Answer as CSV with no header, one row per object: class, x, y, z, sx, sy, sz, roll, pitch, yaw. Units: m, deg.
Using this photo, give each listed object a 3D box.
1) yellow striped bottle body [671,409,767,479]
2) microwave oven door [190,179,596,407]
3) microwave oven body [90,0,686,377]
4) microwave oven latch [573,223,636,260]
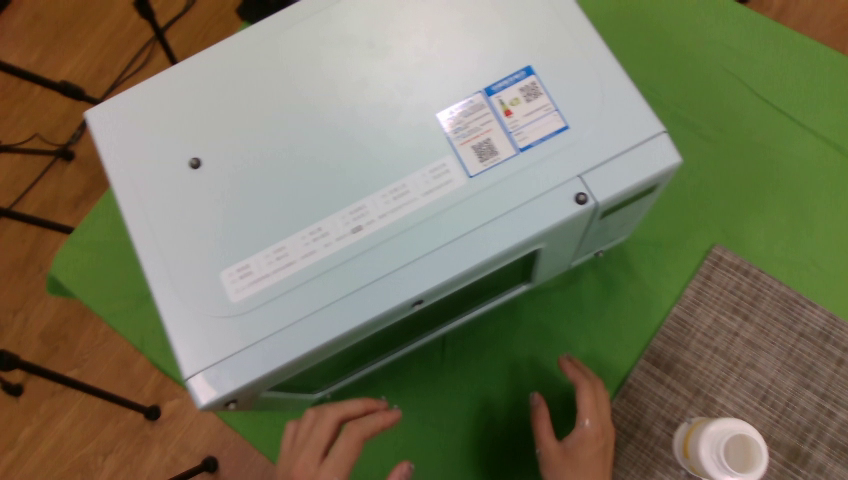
yellow striped bottle body,0.290,0.199,0.595,0.063,0.121,0.062,-2,75,7
microwave oven door,-0.011,0.067,0.590,0.356,0.245,0.039,-28,73,0
microwave oven body,-0.037,-0.076,0.635,0.442,0.261,0.324,-28,74,0
microwave oven latch,0.198,-0.007,0.689,0.079,0.030,0.030,-26,74,1
